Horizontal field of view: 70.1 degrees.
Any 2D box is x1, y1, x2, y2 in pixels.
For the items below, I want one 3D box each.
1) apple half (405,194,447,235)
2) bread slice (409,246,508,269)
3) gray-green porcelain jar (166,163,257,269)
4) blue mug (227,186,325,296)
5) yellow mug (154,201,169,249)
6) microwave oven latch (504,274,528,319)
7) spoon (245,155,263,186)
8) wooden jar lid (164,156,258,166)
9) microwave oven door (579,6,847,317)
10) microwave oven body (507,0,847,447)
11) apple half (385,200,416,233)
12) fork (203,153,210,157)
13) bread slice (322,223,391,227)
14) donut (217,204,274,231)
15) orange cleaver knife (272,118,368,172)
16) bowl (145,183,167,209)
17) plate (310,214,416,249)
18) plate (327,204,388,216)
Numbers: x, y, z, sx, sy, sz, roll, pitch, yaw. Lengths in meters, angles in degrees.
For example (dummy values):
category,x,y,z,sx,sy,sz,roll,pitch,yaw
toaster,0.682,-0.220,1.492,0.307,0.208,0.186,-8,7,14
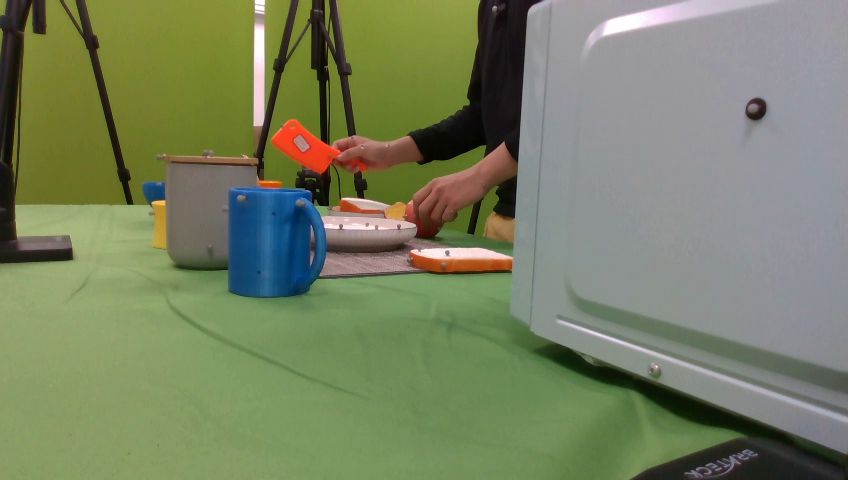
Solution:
category,x,y,z,sx,sy,sz,roll,pitch,yaw
apple half,0.011,-0.046,1.138,0.081,0.074,0.053,-4,21,-39
bread slice,0.048,0.021,0.816,0.132,0.019,0.104,0,7,-24
gray-green porcelain jar,-0.263,-0.031,0.754,0.106,0.126,0.106,2,7,0
blue mug,-0.146,0.000,0.618,0.116,0.106,0.083,7,9,32
yellow mug,-0.337,-0.022,0.899,0.130,0.064,0.100,8,9,34
microwave oven latch,0.100,0.041,0.471,0.079,0.029,0.030,-1,7,-28
spoon,-0.421,-0.150,1.540,0.042,0.021,0.193,-5,55,-37
wooden jar lid,-0.261,-0.093,0.746,0.108,0.020,0.108,1,9,0
microwave oven door,0.294,-0.067,0.570,0.358,0.243,0.039,-3,9,-31
microwave oven body,0.331,-0.042,0.425,0.444,0.260,0.324,-2,8,-31
apple half,-0.045,-0.038,1.175,0.082,0.081,0.032,-6,-28,-44
fork,-0.480,-0.134,1.411,0.028,0.018,0.207,1,-35,0
bread slice,-0.116,-0.014,0.974,0.135,0.018,0.106,-6,11,-42
donut,-0.317,-0.039,1.080,0.099,0.048,0.099,3,8,0
orange cleaver knife,-0.218,-0.186,1.287,0.212,0.077,0.012,25,6,-30
bowl,-0.459,-0.068,1.175,0.151,0.077,0.151,3,7,0
plate,-0.117,-0.014,0.967,0.208,0.039,0.207,2,7,0
plate,-0.102,-0.053,1.299,0.209,0.038,0.209,2,7,0
